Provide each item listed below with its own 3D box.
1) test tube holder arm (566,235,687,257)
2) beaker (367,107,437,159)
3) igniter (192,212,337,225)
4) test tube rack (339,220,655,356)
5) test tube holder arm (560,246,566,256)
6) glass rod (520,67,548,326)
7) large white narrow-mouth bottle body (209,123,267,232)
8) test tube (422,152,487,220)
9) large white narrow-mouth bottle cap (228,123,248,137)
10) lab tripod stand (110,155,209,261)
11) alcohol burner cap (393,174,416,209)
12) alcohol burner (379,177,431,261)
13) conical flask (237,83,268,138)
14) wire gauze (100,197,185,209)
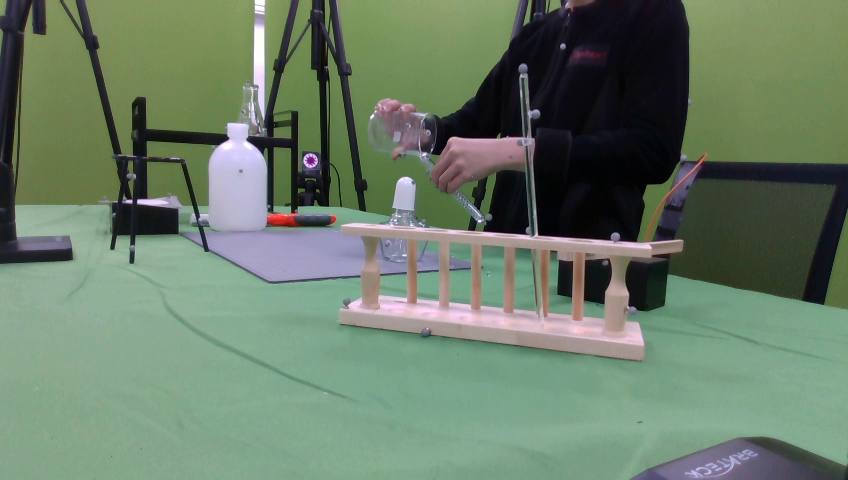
[{"bbox_3d":[0.215,0.006,0.630,0.179,0.015,0.013,-3,9,-31],"label":"test tube holder arm"},{"bbox_3d":[-0.038,-0.181,1.006,0.100,0.084,0.074,9,10,21],"label":"beaker"},{"bbox_3d":[-0.311,-0.043,1.203,0.278,0.025,0.057,-1,-5,-25],"label":"igniter"},{"bbox_3d":[0.056,0.032,0.495,0.242,0.085,0.067,4,7,15],"label":"test tube rack"},{"bbox_3d":[0.173,0.007,0.611,0.088,0.015,0.010,-3,9,-30],"label":"test tube holder arm"},{"bbox_3d":[0.084,-0.029,0.458,0.008,0.199,0.008,-6,11,2],"label":"glass rod"},{"bbox_3d":[-0.340,-0.115,1.109,0.102,0.194,0.102,2,8,0],"label":"large white narrow-mouth bottle body"},{"bbox_3d":[0.049,-0.087,0.970,0.150,0.017,0.017,48,27,18],"label":"test tube"},{"bbox_3d":[-0.338,-0.199,1.097,0.038,0.024,0.037,2,8,0],"label":"large white narrow-mouth bottle cap"},{"bbox_3d":[-0.361,-0.046,0.806,0.148,0.131,0.148,2,5,0],"label":"lab tripod stand"},{"bbox_3d":[-0.025,-0.067,0.834,0.034,0.048,0.034,8,7,-1],"label":"alcohol burner cap"},{"bbox_3d":[-0.027,-0.031,0.838,0.078,0.119,0.078,0,6,0],"label":"alcohol burner"},{"bbox_3d":[-0.402,-0.299,1.406,0.075,0.122,0.075,2,7,0],"label":"conical flask"},{"bbox_3d":[-0.469,-0.062,1.008,0.126,0.011,0.121,-2,8,-25],"label":"wire gauze"}]
